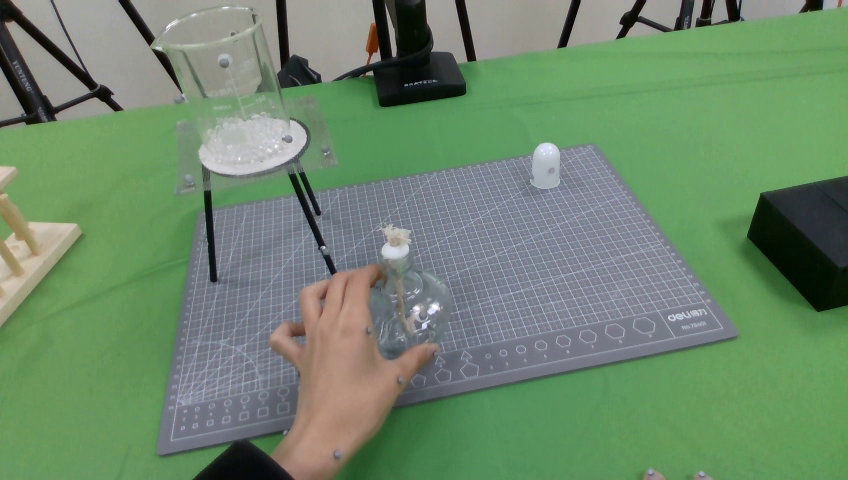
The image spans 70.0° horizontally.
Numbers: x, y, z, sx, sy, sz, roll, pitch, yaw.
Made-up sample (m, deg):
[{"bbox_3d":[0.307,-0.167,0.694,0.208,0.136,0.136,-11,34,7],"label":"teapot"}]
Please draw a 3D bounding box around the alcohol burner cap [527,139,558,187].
[{"bbox_3d":[0.126,-0.083,0.636,0.034,0.048,0.033,-4,41,4],"label":"alcohol burner cap"}]

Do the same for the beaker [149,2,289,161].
[{"bbox_3d":[-0.151,-0.118,0.464,0.084,0.101,0.073,-15,42,-8],"label":"beaker"}]

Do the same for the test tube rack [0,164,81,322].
[{"bbox_3d":[-0.420,0.035,0.537,0.066,0.086,0.240,3,42,9],"label":"test tube rack"}]

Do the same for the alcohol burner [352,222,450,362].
[{"bbox_3d":[-0.019,0.036,0.462,0.078,0.120,0.077,-4,39,4],"label":"alcohol burner"}]

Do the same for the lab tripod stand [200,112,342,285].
[{"bbox_3d":[-0.137,-0.033,0.540,0.148,0.133,0.147,-4,43,4],"label":"lab tripod stand"}]

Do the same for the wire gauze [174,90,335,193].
[{"bbox_3d":[-0.143,-0.082,0.497,0.125,0.011,0.120,-16,40,-7],"label":"wire gauze"}]
